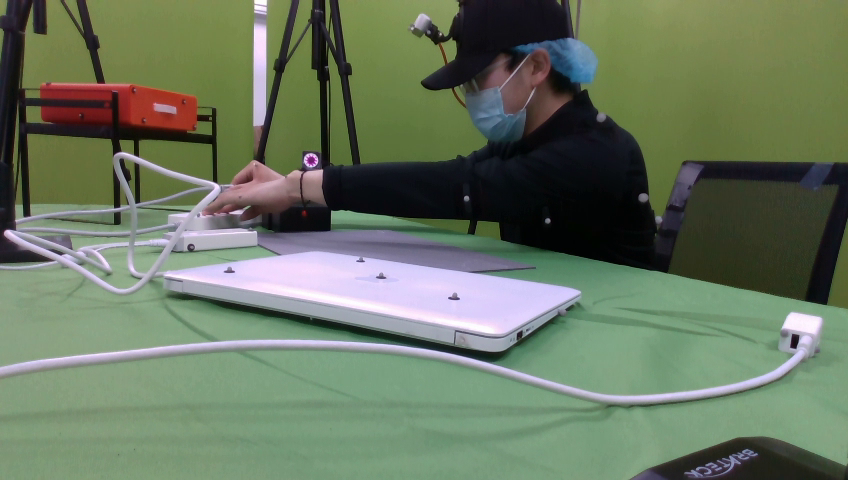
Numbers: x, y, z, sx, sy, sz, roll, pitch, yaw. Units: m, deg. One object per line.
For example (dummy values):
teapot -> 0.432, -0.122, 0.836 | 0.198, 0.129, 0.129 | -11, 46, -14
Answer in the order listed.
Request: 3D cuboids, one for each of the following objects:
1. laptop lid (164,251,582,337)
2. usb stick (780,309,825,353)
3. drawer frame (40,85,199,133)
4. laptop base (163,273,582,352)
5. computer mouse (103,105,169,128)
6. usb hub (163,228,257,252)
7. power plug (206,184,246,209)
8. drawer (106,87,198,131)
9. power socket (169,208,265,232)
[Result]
laptop lid -> -0.044, 0.040, 0.598 | 0.355, 0.013, 0.243 | 7, 7, 30
usb stick -> 0.311, 0.072, 0.496 | 0.027, 0.021, 0.059 | 8, 16, 34
drawer frame -> -0.612, -0.266, 1.235 | 0.213, 0.082, 0.202 | 4, 8, 15
laptop base -> -0.046, 0.052, 0.598 | 0.353, 0.023, 0.236 | 6, 6, 28
computer mouse -> -0.581, -0.249, 1.223 | 0.118, 0.041, 0.062 | 2, 3, -39
usb hub -> -0.313, 0.000, 0.894 | 0.049, 0.025, 0.126 | 9, 10, 41
power plug -> -0.389, -0.084, 1.202 | 0.072, 0.052, 0.035 | -2, 7, 13
drawer -> -0.609, -0.264, 1.235 | 0.211, 0.073, 0.195 | 3, 8, 16
power socket -> -0.380, -0.038, 1.128 | 0.072, 0.032, 0.227 | 4, 8, 17
